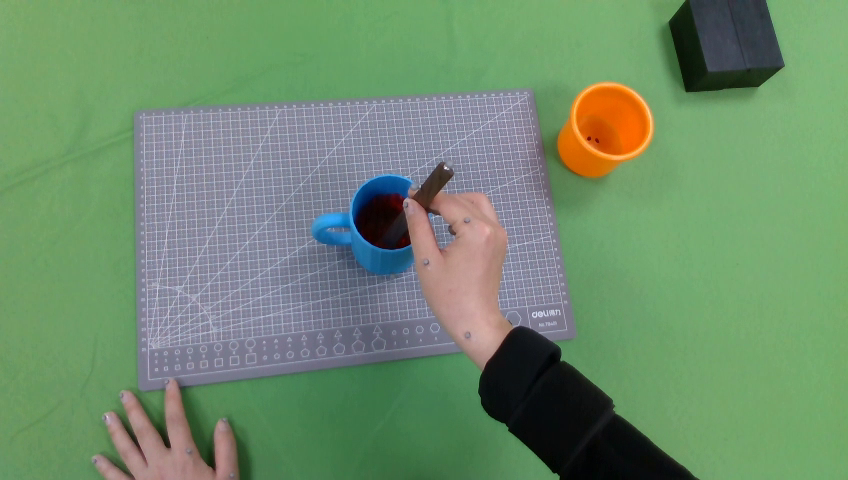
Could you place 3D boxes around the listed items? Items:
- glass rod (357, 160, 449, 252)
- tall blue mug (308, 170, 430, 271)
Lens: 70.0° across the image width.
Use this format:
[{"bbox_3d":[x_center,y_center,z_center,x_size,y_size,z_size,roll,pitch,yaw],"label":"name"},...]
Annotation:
[{"bbox_3d":[-0.024,-0.023,0.512,0.008,0.200,0.008,9,68,-22],"label":"glass rod"},{"bbox_3d":[-0.052,-0.009,0.602,0.107,0.108,0.077,-29,81,-13],"label":"tall blue mug"}]
